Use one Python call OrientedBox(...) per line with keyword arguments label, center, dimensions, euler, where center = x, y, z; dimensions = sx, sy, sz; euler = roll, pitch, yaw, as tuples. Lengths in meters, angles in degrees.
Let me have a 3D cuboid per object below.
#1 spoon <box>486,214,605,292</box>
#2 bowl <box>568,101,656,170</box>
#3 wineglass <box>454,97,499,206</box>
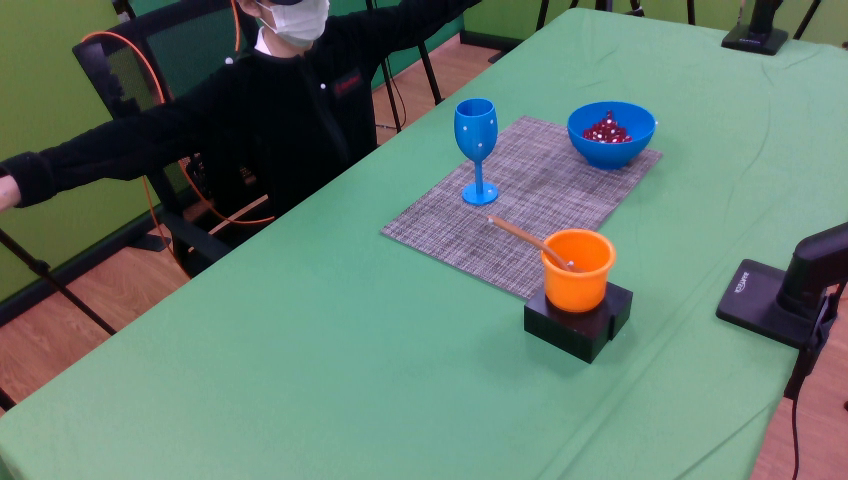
OrientedBox(label="spoon", center=(0.155, 0.015, 0.758), dimensions=(0.021, 0.195, 0.041), euler=(-44, 26, 28))
OrientedBox(label="bowl", center=(0.332, -0.179, 1.084), dimensions=(0.151, 0.077, 0.150), euler=(-4, 40, 4))
OrientedBox(label="wineglass", center=(0.090, -0.145, 1.009), dimensions=(0.074, 0.173, 0.073), euler=(-5, 40, 4))
